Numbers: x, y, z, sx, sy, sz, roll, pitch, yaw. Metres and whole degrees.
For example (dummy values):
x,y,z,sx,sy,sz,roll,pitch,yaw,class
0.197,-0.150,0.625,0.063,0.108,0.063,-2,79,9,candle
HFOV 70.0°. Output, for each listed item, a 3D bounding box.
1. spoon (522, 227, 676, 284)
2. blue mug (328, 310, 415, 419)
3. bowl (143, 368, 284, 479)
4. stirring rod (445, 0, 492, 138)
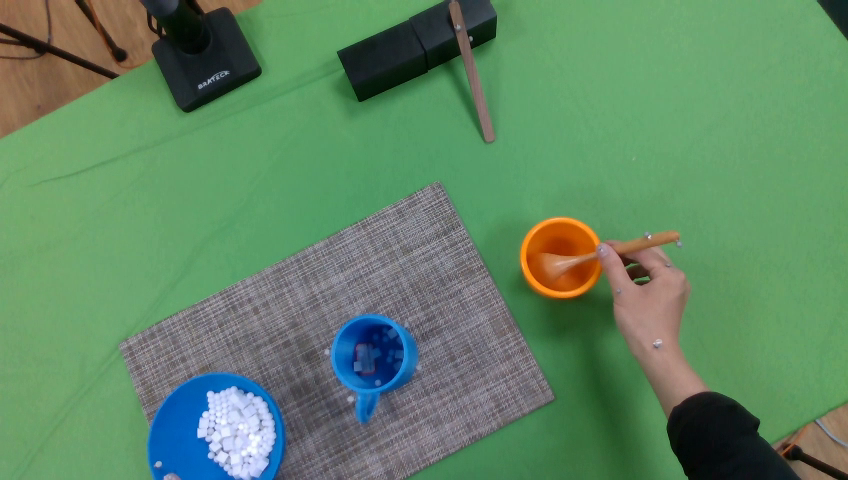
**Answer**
x,y,z,sx,sy,sz,roll,pitch,yaw,class
0.181,0.012,0.660,0.193,0.022,0.041,-19,79,41,spoon
-0.059,0.140,0.675,0.082,0.106,0.116,10,80,7,blue mug
-0.224,0.221,0.685,0.151,0.077,0.150,-1,79,4,bowl
0.056,-0.214,0.759,0.014,0.006,0.176,-18,100,-5,stirring rod
